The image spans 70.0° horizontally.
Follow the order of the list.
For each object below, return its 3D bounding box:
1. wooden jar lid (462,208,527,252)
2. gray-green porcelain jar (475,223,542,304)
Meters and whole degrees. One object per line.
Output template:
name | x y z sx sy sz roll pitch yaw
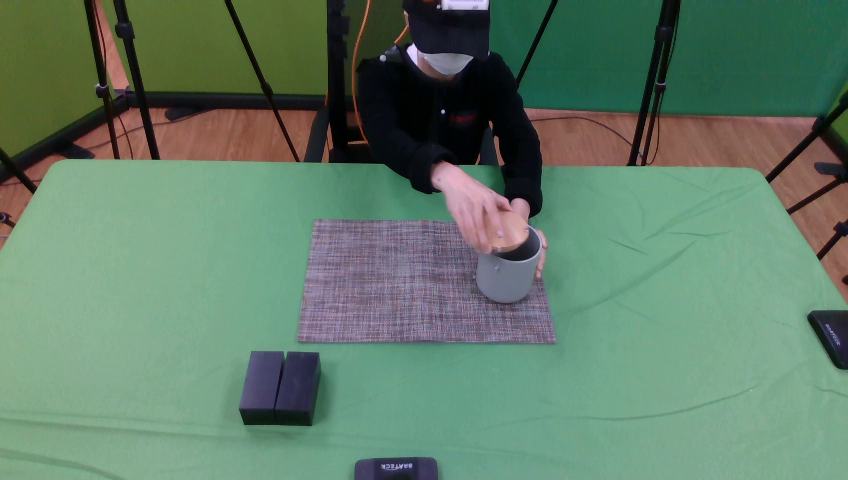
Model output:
wooden jar lid | 0.118 -0.016 1.015 0.108 0.021 0.107 2 39 -2
gray-green porcelain jar | 0.148 0.044 1.090 0.106 0.127 0.105 2 46 -2
